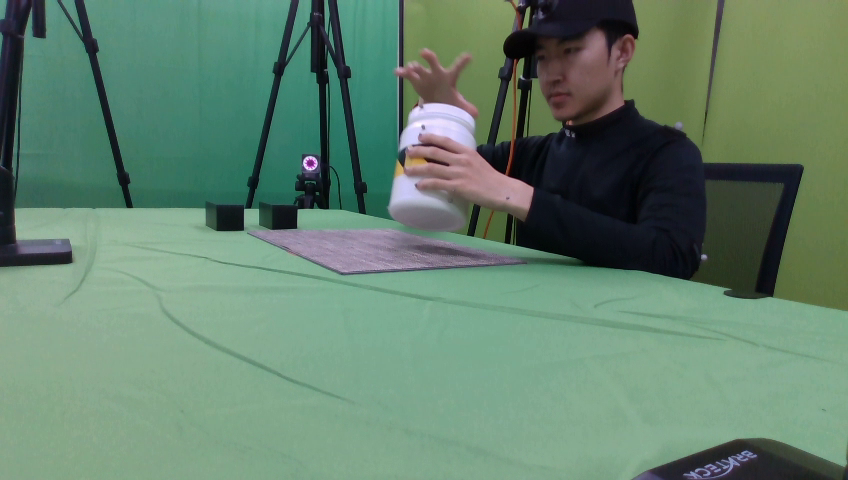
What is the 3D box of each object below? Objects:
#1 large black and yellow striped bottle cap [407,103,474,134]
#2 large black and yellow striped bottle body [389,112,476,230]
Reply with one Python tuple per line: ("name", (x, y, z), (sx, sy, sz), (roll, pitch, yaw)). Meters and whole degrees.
("large black and yellow striped bottle cap", (0.029, -0.200, 1.034), (0.115, 0.019, 0.115), (6, -16, 2))
("large black and yellow striped bottle body", (0.017, -0.121, 1.010), (0.131, 0.183, 0.131), (7, -17, 2))
